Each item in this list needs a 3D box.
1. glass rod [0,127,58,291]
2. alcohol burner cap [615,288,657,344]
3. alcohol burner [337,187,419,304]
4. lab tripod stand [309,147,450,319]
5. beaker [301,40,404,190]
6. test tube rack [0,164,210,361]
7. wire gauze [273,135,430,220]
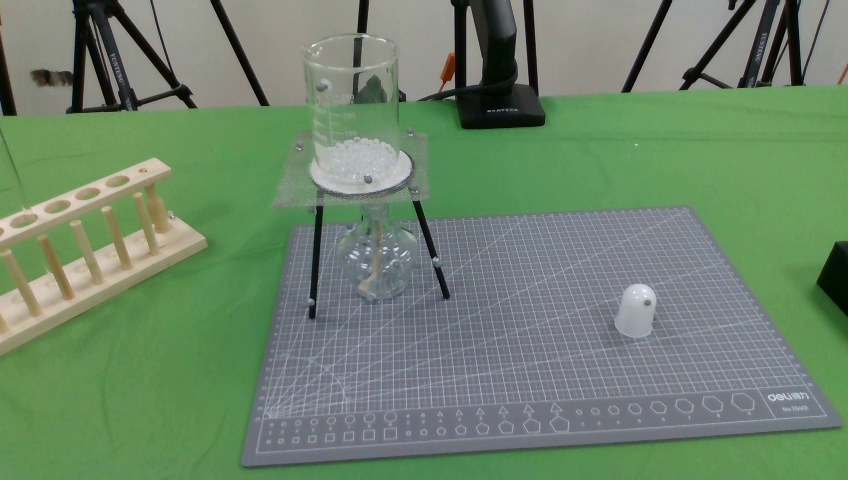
[{"bbox_3d":[-0.358,-0.039,0.537,0.008,0.201,0.008,0,29,0],"label":"glass rod"},{"bbox_3d":[0.187,0.063,0.528,0.034,0.048,0.033,-1,38,1],"label":"alcohol burner cap"},{"bbox_3d":[-0.043,0.001,0.558,0.078,0.120,0.077,0,39,0],"label":"alcohol burner"},{"bbox_3d":[-0.046,-0.007,0.551,0.148,0.132,0.147,0,36,0],"label":"lab tripod stand"},{"bbox_3d":[-0.057,-0.098,0.482,0.083,0.101,0.074,22,42,26],"label":"beaker"},{"bbox_3d":[-0.334,0.021,0.568,0.066,0.086,0.242,28,46,34],"label":"test tube rack"},{"bbox_3d":[-0.056,-0.058,0.509,0.121,0.011,0.124,-1,39,0],"label":"wire gauze"}]
